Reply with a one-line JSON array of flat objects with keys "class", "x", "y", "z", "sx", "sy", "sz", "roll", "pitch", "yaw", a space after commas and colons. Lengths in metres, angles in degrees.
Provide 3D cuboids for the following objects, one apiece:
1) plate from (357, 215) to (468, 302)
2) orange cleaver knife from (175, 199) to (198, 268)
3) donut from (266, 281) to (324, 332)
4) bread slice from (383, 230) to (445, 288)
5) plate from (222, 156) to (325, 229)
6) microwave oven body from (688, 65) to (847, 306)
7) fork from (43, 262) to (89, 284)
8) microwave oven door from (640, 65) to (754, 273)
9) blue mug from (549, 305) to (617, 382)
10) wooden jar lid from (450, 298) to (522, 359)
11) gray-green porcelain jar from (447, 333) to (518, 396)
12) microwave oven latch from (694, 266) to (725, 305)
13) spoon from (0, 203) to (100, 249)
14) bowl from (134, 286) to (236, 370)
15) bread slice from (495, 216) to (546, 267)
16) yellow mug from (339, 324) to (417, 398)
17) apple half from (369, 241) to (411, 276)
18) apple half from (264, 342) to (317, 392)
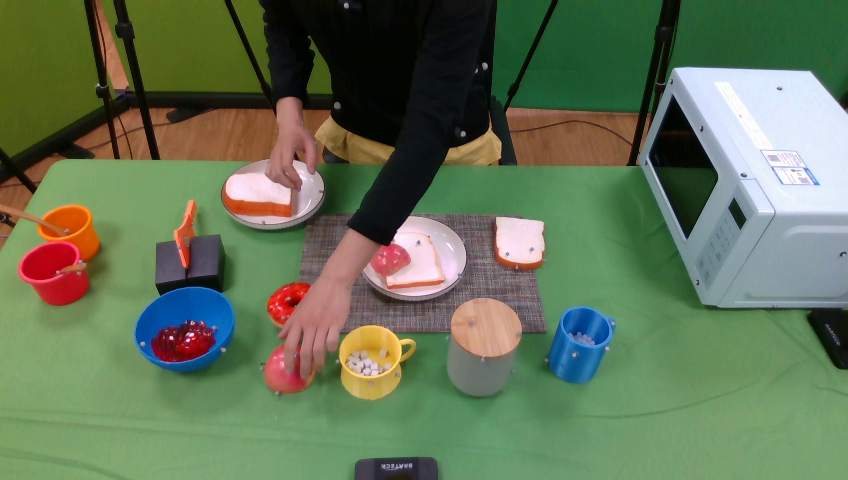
[{"class": "plate", "x": -0.022, "y": 0.037, "z": 1.141, "sx": 0.208, "sy": 0.039, "sz": 0.206, "roll": 2, "pitch": 46, "yaw": -2}, {"class": "orange cleaver knife", "x": -0.438, "y": -0.017, "z": 1.138, "sx": 0.012, "sy": 0.077, "sz": 0.210, "roll": -13, "pitch": 27, "yaw": -7}, {"class": "donut", "x": -0.222, "y": 0.115, "z": 1.049, "sx": 0.099, "sy": 0.048, "sz": 0.098, "roll": 2, "pitch": 45, "yaw": -1}, {"class": "bread slice", "x": -0.028, "y": 0.035, "z": 1.145, "sx": 0.107, "sy": 0.018, "sz": 0.133, "roll": -7, "pitch": 48, "yaw": -12}, {"class": "plate", "x": -0.308, "y": -0.095, "z": 1.251, "sx": 0.209, "sy": 0.038, "sz": 0.208, "roll": 2, "pitch": 47, "yaw": -2}, {"class": "microwave oven body", "x": 0.669, "y": -0.111, "z": 1.176, "sx": 0.326, "sy": 0.261, "sz": 0.439, "roll": 0, "pitch": 46, "yaw": -3}, {"class": "fork", "x": -0.599, "y": 0.053, "z": 1.013, "sx": 0.207, "sy": 0.019, "sz": 0.028, "roll": -14, "pitch": 30, "yaw": 45}, {"class": "microwave oven door", "x": 0.523, "y": -0.148, "z": 1.193, "sx": 0.039, "sy": 0.245, "sz": 0.353, "roll": 0, "pitch": 47, "yaw": -3}, {"class": "blue mug", "x": 0.269, "y": 0.166, "z": 0.998, "sx": 0.116, "sy": 0.106, "sz": 0.082, "roll": -19, "pitch": 51, "yaw": -21}, {"class": "wooden jar lid", "x": 0.093, "y": 0.135, "z": 0.914, "sx": 0.108, "sy": 0.021, "sz": 0.107, "roll": 3, "pitch": 48, "yaw": -3}, {"class": "gray-green porcelain jar", "x": 0.091, "y": 0.178, "z": 0.960, "sx": 0.106, "sy": 0.127, "sz": 0.105, "roll": 2, "pitch": 46, "yaw": -2}, {"class": "microwave oven latch", "x": 0.523, "y": 0.082, "z": 1.115, "sx": 0.030, "sy": 0.029, "sz": 0.078, "roll": 3, "pitch": 46, "yaw": 0}, {"class": "spoon", "x": -0.683, "y": -0.031, "z": 1.088, "sx": 0.195, "sy": 0.021, "sz": 0.041, "roll": 33, "pitch": 33, "yaw": -38}, {"class": "bowl", "x": -0.377, "y": 0.156, "z": 0.981, "sx": 0.151, "sy": 0.077, "sz": 0.150, "roll": 2, "pitch": 46, "yaw": -2}, {"class": "bread slice", "x": 0.194, "y": 0.002, "z": 1.205, "sx": 0.105, "sy": 0.019, "sz": 0.131, "roll": 5, "pitch": 45, "yaw": 2}, {"class": "yellow mug", "x": -0.072, "y": 0.190, "z": 0.978, "sx": 0.131, "sy": 0.064, "sz": 0.099, "roll": -17, "pitch": 51, "yaw": -20}, {"class": "apple half", "x": -0.067, "y": 0.024, "z": 1.121, "sx": 0.081, "sy": 0.033, "sz": 0.081, "roll": 1, "pitch": 47, "yaw": -1}, {"class": "apple half", "x": -0.214, "y": 0.198, "z": 0.970, "sx": 0.074, "sy": 0.053, "sz": 0.080, "roll": 19, "pitch": 48, "yaw": 10}]
